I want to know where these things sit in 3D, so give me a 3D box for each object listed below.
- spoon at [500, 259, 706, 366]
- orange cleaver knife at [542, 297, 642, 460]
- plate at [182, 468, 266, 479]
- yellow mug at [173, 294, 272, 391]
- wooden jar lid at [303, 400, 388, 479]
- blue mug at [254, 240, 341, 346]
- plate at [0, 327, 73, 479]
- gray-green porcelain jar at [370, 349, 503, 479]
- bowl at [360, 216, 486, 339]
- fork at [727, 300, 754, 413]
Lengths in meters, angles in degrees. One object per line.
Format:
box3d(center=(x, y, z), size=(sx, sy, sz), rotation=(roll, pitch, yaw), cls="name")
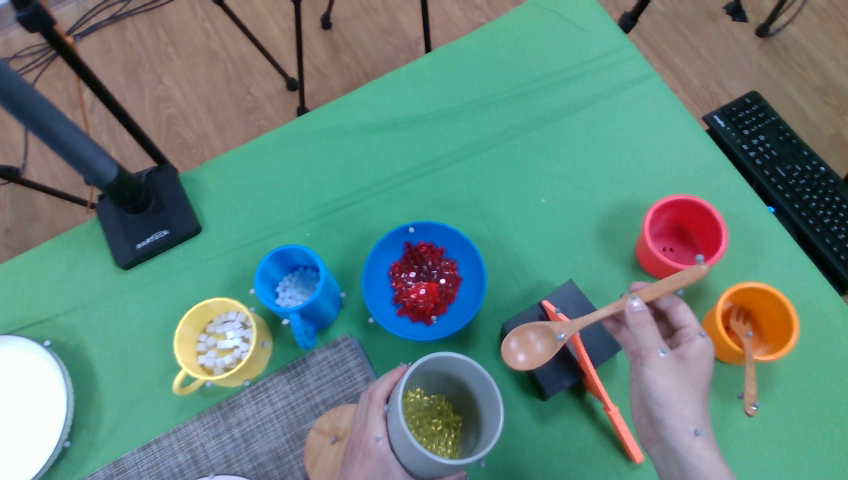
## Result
box3d(center=(0.154, 0.064, 0.535), size=(0.193, 0.022, 0.041), rotation=(-29, 70, 23), cls="spoon")
box3d(center=(0.192, 0.159, 0.701), size=(0.012, 0.077, 0.212), rotation=(-31, 101, -7), cls="orange cleaver knife")
box3d(center=(-0.227, 0.363, 0.673), size=(0.209, 0.038, 0.207), rotation=(-1, 70, 4), cls="plate")
box3d(center=(-0.257, 0.134, 0.746), size=(0.099, 0.064, 0.130), rotation=(37, 78, 16), cls="yellow mug")
box3d(center=(-0.088, 0.245, 0.717), size=(0.108, 0.021, 0.107), rotation=(-1, 71, 3), cls="wooden jar lid")
box3d(center=(-0.151, 0.072, 0.741), size=(0.082, 0.106, 0.115), rotation=(-9, 70, 1), cls="blue mug")
box3d(center=(-0.533, 0.213, 0.750), size=(0.207, 0.039, 0.206), rotation=(-1, 71, 3), cls="plate")
box3d(center=(0.006, 0.181, 0.611), size=(0.106, 0.127, 0.105), rotation=(10, 57, -15), cls="gray-green porcelain jar")
box3d(center=(0.001, 0.055, 0.752), size=(0.151, 0.077, 0.150), rotation=(-1, 71, 3), cls="bowl")
box3d(center=(0.352, 0.122, 0.668), size=(0.028, 0.019, 0.207), rotation=(31, 31, 9), cls="fork")
